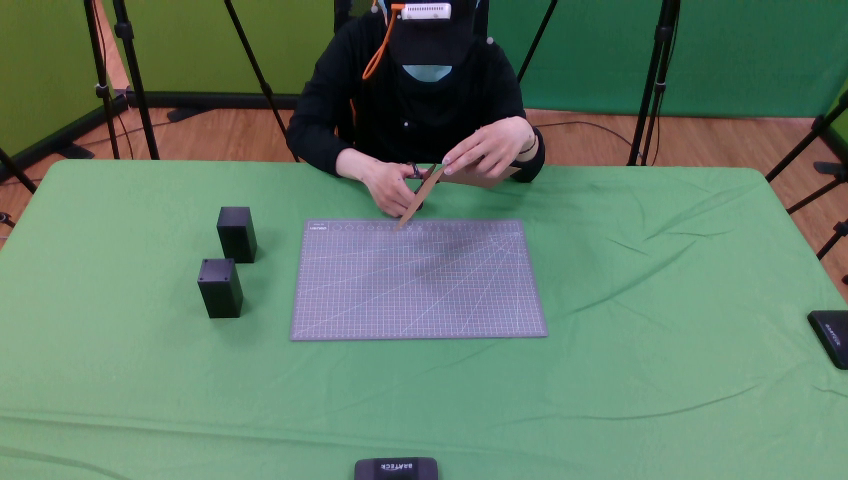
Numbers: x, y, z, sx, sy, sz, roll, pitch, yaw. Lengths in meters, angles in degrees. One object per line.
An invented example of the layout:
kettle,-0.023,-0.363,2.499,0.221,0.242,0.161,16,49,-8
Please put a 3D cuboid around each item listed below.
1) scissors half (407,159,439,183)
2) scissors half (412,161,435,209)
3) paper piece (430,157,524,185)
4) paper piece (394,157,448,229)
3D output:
scissors half,-0.003,-0.131,1.181,0.013,0.040,0.174,-13,19,-17
scissors half,0.001,-0.107,1.180,0.013,0.176,0.040,-8,66,-17
paper piece,0.095,-0.127,1.126,0.138,0.136,0.008,5,81,-19
paper piece,-0.009,-0.081,1.077,0.004,0.135,0.135,36,72,-6
